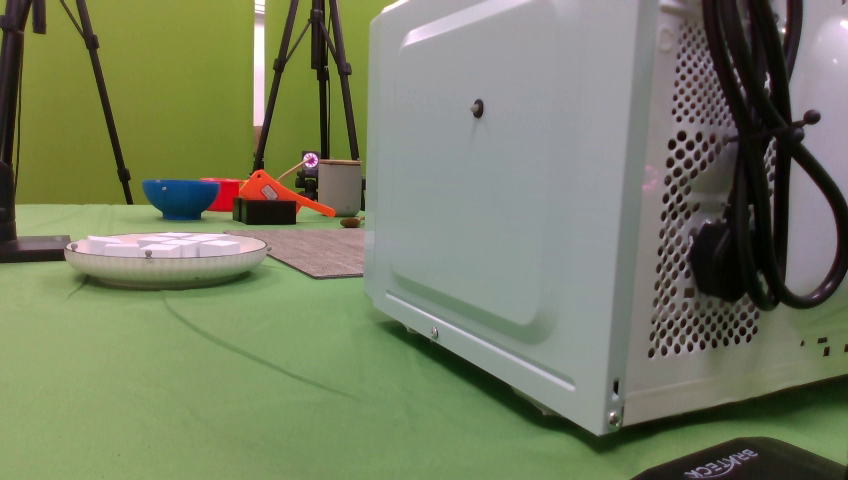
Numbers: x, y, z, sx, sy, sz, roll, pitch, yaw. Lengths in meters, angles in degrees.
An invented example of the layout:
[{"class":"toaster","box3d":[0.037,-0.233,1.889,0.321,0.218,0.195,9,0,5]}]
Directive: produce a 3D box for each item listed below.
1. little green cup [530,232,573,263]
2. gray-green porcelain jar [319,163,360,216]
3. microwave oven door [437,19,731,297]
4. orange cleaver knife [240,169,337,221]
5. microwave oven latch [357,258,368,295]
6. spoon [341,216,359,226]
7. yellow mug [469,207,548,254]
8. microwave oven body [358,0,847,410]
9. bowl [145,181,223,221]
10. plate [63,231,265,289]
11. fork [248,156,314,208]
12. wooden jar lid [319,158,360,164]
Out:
[{"class":"little green cup","box3d":[0.183,0.011,0.881,0.061,0.038,0.061,5,7,0]},{"class":"gray-green porcelain jar","box3d":[-0.204,-0.126,1.490,0.106,0.126,0.106,2,8,0]},{"class":"microwave oven door","box3d":[0.181,-0.076,0.618,0.358,0.243,0.039,-2,9,-28]},{"class":"orange cleaver knife","box3d":[-0.286,-0.082,1.298,0.212,0.077,0.012,25,-2,-31]},{"class":"microwave oven latch","box3d":[-0.019,0.031,0.529,0.079,0.029,0.030,-1,7,-26]},{"class":"spoon","box3d":[-0.132,-0.048,1.305,0.041,0.021,0.194,-15,4,14]},{"class":"yellow mug","box3d":[0.136,-0.015,0.950,0.131,0.064,0.099,2,6,-20]},{"class":"microwave oven body","box3d":[0.210,-0.051,0.471,0.444,0.260,0.324,-1,7,-28]},{"class":"bowl","box3d":[-0.499,-0.081,1.261,0.151,0.077,0.151,2,7,0]},{"class":"plate","box3d":[-0.288,0.021,0.687,0.208,0.039,0.207,2,8,0]},{"class":"fork","box3d":[-0.360,-0.147,1.523,0.207,0.019,0.028,-43,17,-6]},{"class":"wooden jar lid","box3d":[-0.203,-0.189,1.482,0.108,0.020,0.108,2,10,0]}]
